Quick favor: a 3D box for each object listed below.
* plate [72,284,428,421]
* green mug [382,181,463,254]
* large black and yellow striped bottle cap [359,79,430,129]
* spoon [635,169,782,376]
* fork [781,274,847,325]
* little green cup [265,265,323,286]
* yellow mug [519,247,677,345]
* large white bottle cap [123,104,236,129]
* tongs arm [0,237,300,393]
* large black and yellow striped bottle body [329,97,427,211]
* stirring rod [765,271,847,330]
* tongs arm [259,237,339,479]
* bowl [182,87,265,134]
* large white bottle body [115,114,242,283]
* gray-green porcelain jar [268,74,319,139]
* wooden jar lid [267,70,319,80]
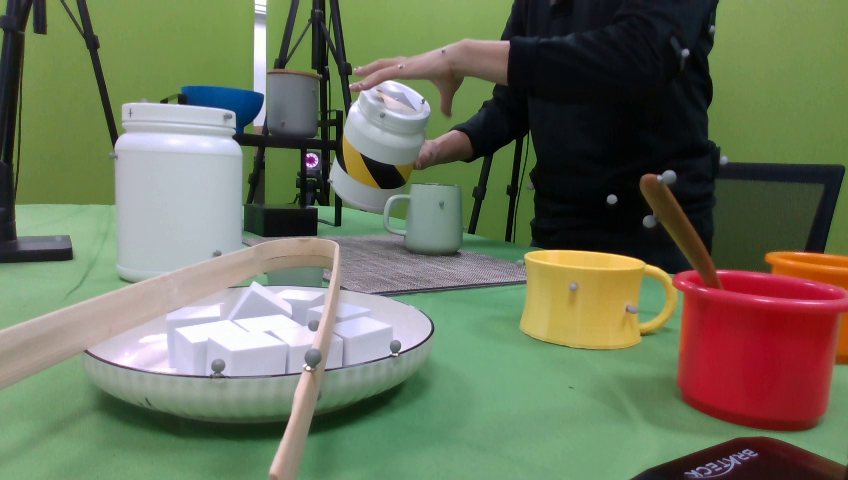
[{"bbox_3d":[-0.102,0.067,0.381,0.208,0.039,0.207,3,7,0],"label":"plate"},{"bbox_3d":[-0.001,-0.036,0.922,0.126,0.105,0.092,0,8,-16],"label":"green mug"},{"bbox_3d":[-0.046,-0.216,0.953,0.115,0.019,0.115,15,39,-12],"label":"large black and yellow striped bottle cap"},{"bbox_3d":[0.161,0.026,0.346,0.041,0.194,0.021,10,56,53],"label":"spoon"},{"bbox_3d":[0.332,0.018,0.443,0.028,0.018,0.207,-3,-35,-16],"label":"fork"},{"bbox_3d":[-0.134,0.034,0.628,0.061,0.038,0.061,3,6,0],"label":"little green cup"},{"bbox_3d":[0.148,0.045,0.513,0.131,0.064,0.100,3,7,0],"label":"yellow mug"},{"bbox_3d":[-0.266,-0.134,0.663,0.115,0.018,0.115,3,7,0],"label":"large white bottle cap"},{"bbox_3d":[-0.158,0.039,0.346,0.028,0.028,0.388,-3,8,11],"label":"tongs arm"},{"bbox_3d":[-0.074,-0.155,1.005,0.131,0.183,0.130,16,38,-12],"label":"large black and yellow striped bottle body"},{"bbox_3d":[0.352,0.020,0.481,0.176,0.006,0.014,-40,-8,17],"label":"stirring rod"},{"bbox_3d":[-0.074,0.040,0.345,0.051,0.026,0.384,-2,9,-3],"label":"tongs arm"},{"bbox_3d":[-0.383,-0.244,1.158,0.151,0.077,0.151,2,7,0],"label":"bowl"},{"bbox_3d":[-0.270,-0.051,0.673,0.131,0.184,0.130,2,8,0],"label":"large white bottle body"},{"bbox_3d":[-0.277,-0.279,1.280,0.106,0.126,0.106,2,8,0],"label":"gray-green porcelain jar"},{"bbox_3d":[-0.275,-0.340,1.271,0.108,0.020,0.108,5,6,0],"label":"wooden jar lid"}]
